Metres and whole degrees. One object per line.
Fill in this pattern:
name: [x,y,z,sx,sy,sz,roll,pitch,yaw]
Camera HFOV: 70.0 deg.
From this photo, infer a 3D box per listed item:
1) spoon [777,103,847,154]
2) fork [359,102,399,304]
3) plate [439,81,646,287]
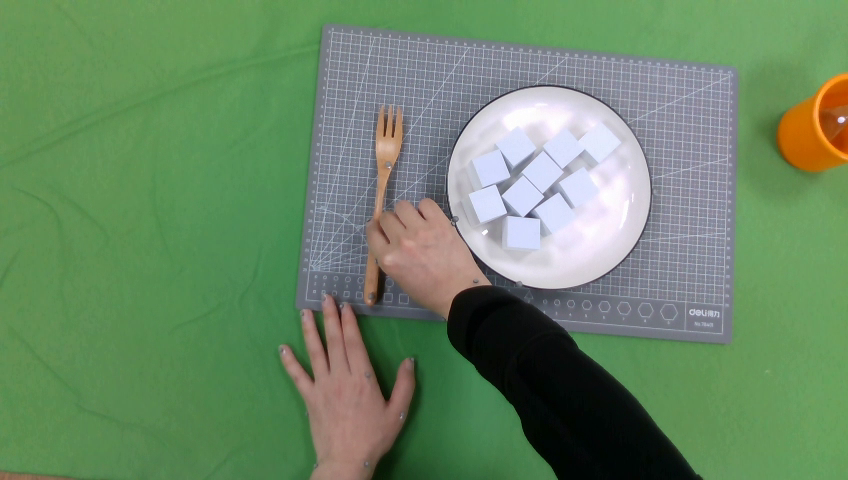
spoon: [0.449,-0.144,0.595,0.022,0.193,0.041,-16,77,-49]
fork: [-0.048,-0.039,0.612,0.028,0.019,0.206,6,82,4]
plate: [0.118,-0.055,0.617,0.208,0.039,0.207,0,85,-4]
